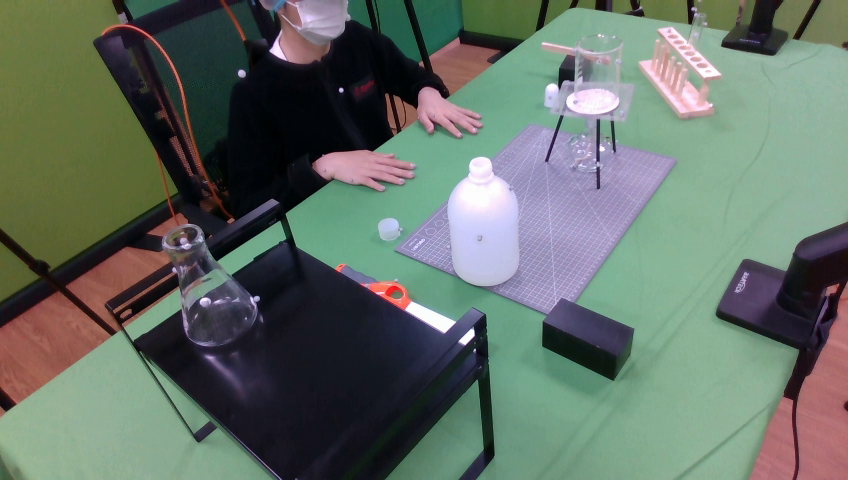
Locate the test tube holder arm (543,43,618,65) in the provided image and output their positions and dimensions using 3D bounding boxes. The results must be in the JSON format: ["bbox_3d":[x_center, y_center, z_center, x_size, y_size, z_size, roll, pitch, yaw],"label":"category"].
[{"bbox_3d":[0.345,-0.413,1.341,0.177,0.015,0.013,25,50,31],"label":"test tube holder arm"}]

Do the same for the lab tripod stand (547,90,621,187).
[{"bbox_3d":[0.289,-0.184,1.062,0.148,0.132,0.147,-6,41,6],"label":"lab tripod stand"}]

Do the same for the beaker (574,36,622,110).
[{"bbox_3d":[0.285,-0.273,0.990,0.073,0.101,0.084,15,46,27],"label":"beaker"}]

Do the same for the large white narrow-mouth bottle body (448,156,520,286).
[{"bbox_3d":[0.086,-0.032,0.869,0.102,0.195,0.101,-4,40,4],"label":"large white narrow-mouth bottle body"}]

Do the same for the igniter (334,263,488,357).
[{"bbox_3d":[-0.030,0.095,0.872,0.274,0.025,0.057,23,60,31],"label":"igniter"}]

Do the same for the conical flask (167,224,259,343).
[{"bbox_3d":[-0.220,0.041,0.613,0.075,0.122,0.075,-5,40,4],"label":"conical flask"}]

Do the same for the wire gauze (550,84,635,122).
[{"bbox_3d":[0.285,-0.234,1.021,0.124,0.011,0.121,8,41,24],"label":"wire gauze"}]

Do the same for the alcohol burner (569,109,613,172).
[{"bbox_3d":[0.298,-0.181,1.073,0.078,0.119,0.077,-5,43,5],"label":"alcohol burner"}]

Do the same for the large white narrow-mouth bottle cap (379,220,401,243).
[{"bbox_3d":[-0.057,-0.015,1.011,0.038,0.024,0.037,-4,40,4],"label":"large white narrow-mouth bottle cap"}]

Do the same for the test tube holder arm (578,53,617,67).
[{"bbox_3d":[0.376,-0.393,1.314,0.087,0.015,0.010,26,51,32],"label":"test tube holder arm"}]

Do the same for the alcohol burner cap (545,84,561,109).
[{"bbox_3d":[0.274,-0.307,1.285,0.034,0.048,0.033,-5,42,5],"label":"alcohol burner cap"}]

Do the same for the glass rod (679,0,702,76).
[{"bbox_3d":[0.543,-0.417,1.233,0.008,0.200,0.008,1,39,0],"label":"glass rod"}]

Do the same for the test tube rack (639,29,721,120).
[{"bbox_3d":[0.527,-0.351,1.262,0.067,0.085,0.241,-8,40,1],"label":"test tube rack"}]

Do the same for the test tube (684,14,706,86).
[{"bbox_3d":[0.540,-0.378,1.215,0.017,0.151,0.017,-2,44,3],"label":"test tube"}]
